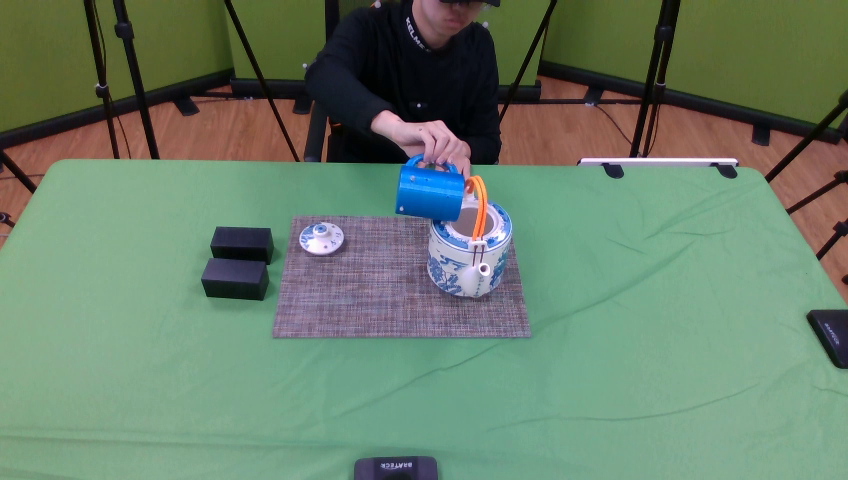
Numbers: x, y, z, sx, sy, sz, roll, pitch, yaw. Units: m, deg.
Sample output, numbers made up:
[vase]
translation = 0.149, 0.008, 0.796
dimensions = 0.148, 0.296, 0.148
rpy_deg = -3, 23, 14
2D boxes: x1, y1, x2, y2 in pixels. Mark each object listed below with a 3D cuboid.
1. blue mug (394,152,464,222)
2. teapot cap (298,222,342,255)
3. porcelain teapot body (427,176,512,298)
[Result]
[blue mug]
translation = 0.009, -0.093, 1.015
dimensions = 0.106, 0.082, 0.116
rpy_deg = 7, 73, -6
[teapot cap]
translation = -0.201, -0.008, 1.171
dimensions = 0.085, 0.044, 0.084
rpy_deg = 1, 48, -1
[porcelain teapot body]
translation = 0.085, 0.009, 1.051
dimensions = 0.145, 0.226, 0.204
rpy_deg = -5, 47, -8
